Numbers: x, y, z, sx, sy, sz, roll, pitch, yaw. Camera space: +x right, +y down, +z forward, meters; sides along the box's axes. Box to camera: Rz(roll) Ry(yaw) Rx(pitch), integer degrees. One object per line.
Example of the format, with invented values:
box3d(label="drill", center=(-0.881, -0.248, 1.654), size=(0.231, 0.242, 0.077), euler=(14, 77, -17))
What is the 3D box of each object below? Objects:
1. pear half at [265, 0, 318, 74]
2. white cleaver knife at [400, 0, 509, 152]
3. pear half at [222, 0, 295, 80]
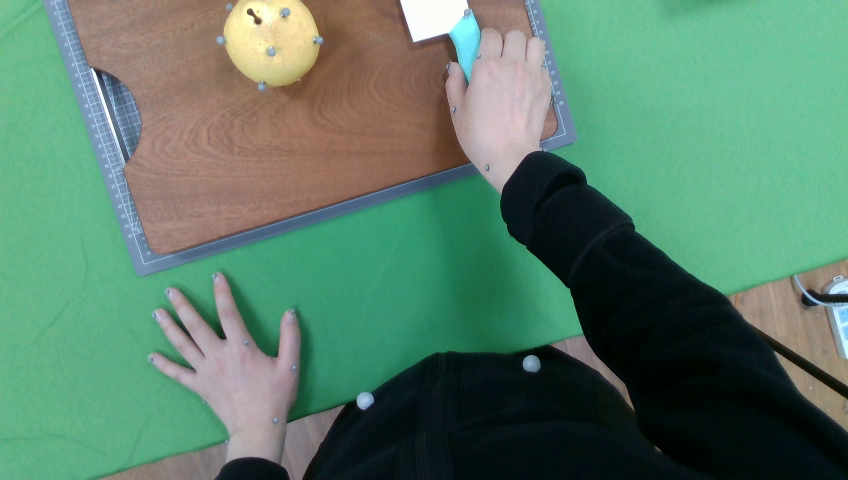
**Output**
box3d(label="pear half", center=(-0.107, -0.181, 0.512), size=(0.031, 0.088, 0.070), euler=(-15, 89, -1))
box3d(label="white cleaver knife", center=(0.012, -0.217, 0.552), size=(0.066, 0.021, 0.286), euler=(-17, 90, 6))
box3d(label="pear half", center=(-0.142, -0.174, 0.502), size=(0.056, 0.110, 0.076), euler=(-14, 89, 0))
